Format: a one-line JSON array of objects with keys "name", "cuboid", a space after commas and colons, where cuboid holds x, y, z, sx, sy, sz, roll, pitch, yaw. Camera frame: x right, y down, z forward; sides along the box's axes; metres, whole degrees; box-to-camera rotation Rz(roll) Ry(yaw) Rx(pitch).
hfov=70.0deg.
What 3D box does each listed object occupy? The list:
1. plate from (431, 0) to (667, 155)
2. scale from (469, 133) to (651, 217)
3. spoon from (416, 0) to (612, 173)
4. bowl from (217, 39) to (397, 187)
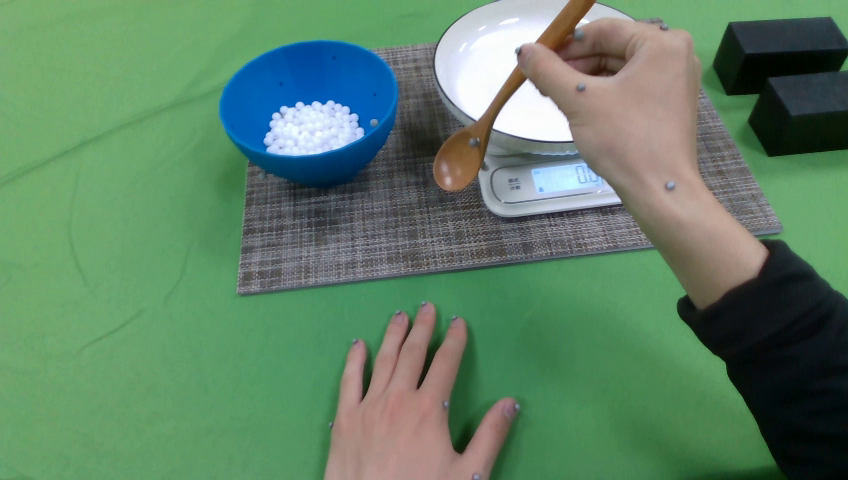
[{"name": "plate", "cuboid": [0.110, -0.149, 0.552, 0.209, 0.038, 0.207, -1, 54, 1]}, {"name": "scale", "cuboid": [0.113, -0.111, 0.565, 0.149, 0.032, 0.199, -7, 54, -2]}, {"name": "spoon", "cuboid": [0.050, -0.098, 0.404, 0.022, 0.194, 0.041, -1, 70, -31]}, {"name": "bowl", "cuboid": [-0.096, -0.100, 0.538, 0.151, 0.077, 0.150, -1, 54, 2]}]
